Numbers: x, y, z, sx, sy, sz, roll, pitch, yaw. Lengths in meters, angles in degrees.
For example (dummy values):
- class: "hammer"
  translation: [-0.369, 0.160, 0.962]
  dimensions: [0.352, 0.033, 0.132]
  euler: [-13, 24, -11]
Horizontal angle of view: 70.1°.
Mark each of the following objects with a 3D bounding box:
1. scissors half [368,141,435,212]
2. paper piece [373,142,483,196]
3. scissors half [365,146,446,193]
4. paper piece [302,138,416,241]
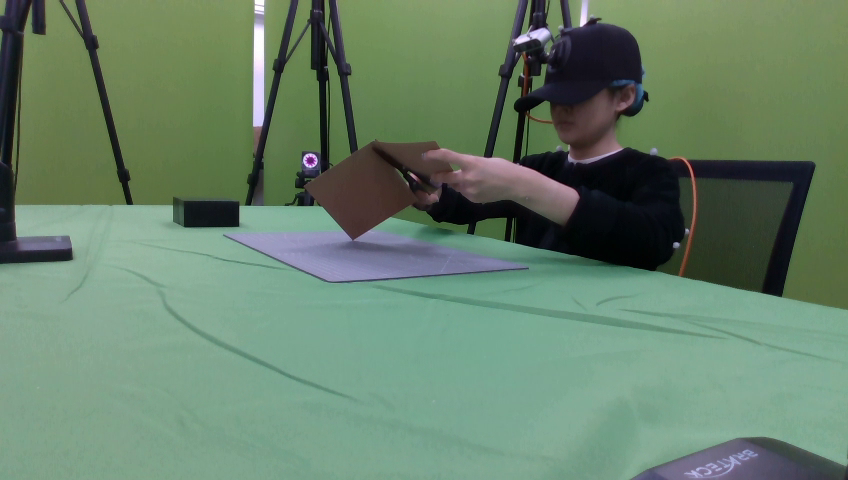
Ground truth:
- class: "scissors half"
  translation: [-0.037, -0.101, 0.986]
  dimensions: [0.176, 0.040, 0.013]
  euler: [48, -8, -37]
- class: "paper piece"
  translation: [0.005, -0.109, 0.926]
  dimensions: [0.135, 0.004, 0.136]
  euler: [13, -19, 46]
- class: "scissors half"
  translation: [-0.024, -0.119, 0.984]
  dimensions: [0.176, 0.040, 0.012]
  euler: [19, 15, -36]
- class: "paper piece"
  translation: [-0.102, -0.077, 0.980]
  dimensions: [0.138, 0.136, 0.008]
  euler: [-32, 32, 9]
